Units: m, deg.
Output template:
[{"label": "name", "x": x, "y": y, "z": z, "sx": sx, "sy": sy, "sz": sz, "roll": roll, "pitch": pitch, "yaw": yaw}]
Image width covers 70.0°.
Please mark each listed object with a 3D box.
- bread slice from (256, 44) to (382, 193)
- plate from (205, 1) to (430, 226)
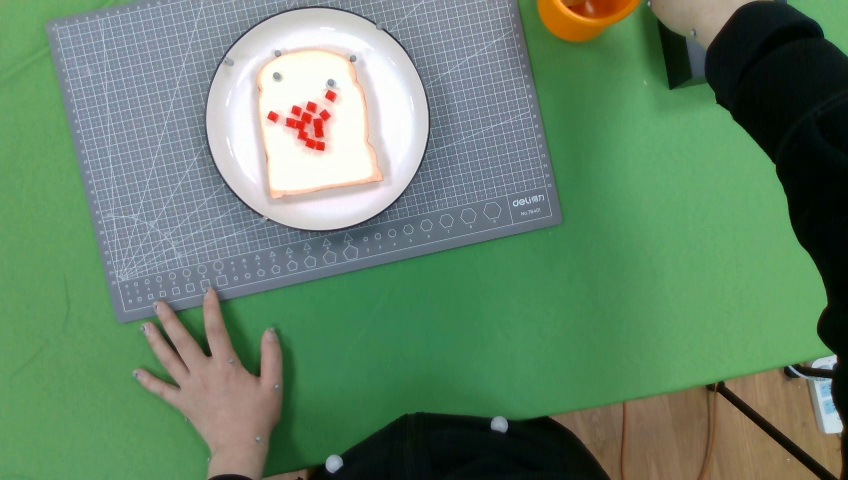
[{"label": "bread slice", "x": -0.106, "y": -0.117, "z": 0.577, "sx": 0.107, "sy": 0.018, "sz": 0.134, "roll": -13, "pitch": 92, "yaw": -2}, {"label": "plate", "x": -0.098, "y": -0.117, "z": 0.576, "sx": 0.209, "sy": 0.038, "sz": 0.209, "roll": 0, "pitch": 92, "yaw": -2}]
